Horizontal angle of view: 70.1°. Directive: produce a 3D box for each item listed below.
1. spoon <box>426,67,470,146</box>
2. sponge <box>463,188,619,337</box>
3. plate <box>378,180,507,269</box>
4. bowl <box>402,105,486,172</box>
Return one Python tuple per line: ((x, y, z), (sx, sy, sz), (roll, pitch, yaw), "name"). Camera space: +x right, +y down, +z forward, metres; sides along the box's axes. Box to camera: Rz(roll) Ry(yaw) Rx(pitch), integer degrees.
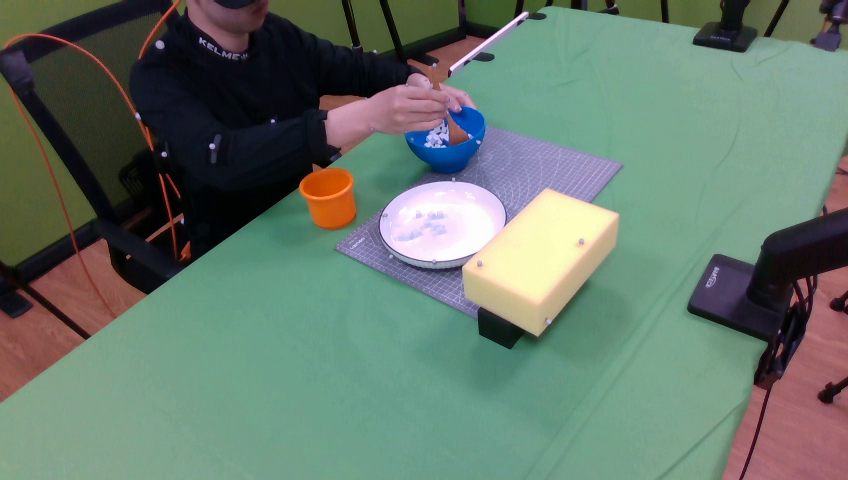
((0.037, -0.214, 1.012), (0.041, 0.195, 0.021), (-29, 47, 2), "spoon")
((0.160, 0.022, 0.814), (0.117, 0.061, 0.207), (24, 50, 32), "sponge")
((0.031, -0.022, 0.974), (0.209, 0.038, 0.208), (-4, 40, 4), "plate")
((0.042, -0.177, 1.109), (0.151, 0.077, 0.150), (-6, 40, 5), "bowl")
